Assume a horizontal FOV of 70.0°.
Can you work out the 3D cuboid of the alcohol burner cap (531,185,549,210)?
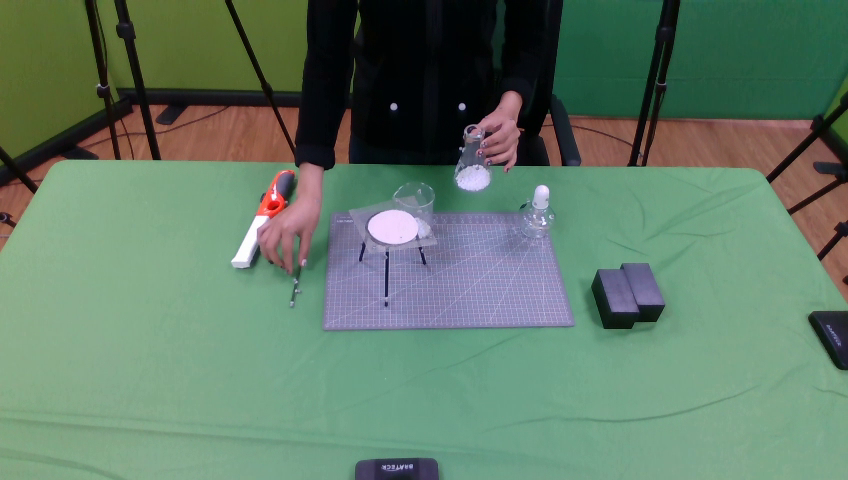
[{"bbox_3d":[0.228,-0.085,1.183,0.034,0.048,0.033,-1,48,2],"label":"alcohol burner cap"}]

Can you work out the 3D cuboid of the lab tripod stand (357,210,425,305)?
[{"bbox_3d":[-0.060,0.020,1.094,0.148,0.132,0.147,3,44,-2],"label":"lab tripod stand"}]

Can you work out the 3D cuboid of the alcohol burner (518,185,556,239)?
[{"bbox_3d":[0.227,-0.061,1.209,0.078,0.120,0.077,1,44,-1],"label":"alcohol burner"}]

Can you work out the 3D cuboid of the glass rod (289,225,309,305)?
[{"bbox_3d":[-0.236,0.042,1.149,0.008,0.008,0.198,3,46,-1],"label":"glass rod"}]

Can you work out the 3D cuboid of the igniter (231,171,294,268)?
[{"bbox_3d":[-0.321,-0.051,1.220,0.057,0.025,0.275,1,45,11],"label":"igniter"}]

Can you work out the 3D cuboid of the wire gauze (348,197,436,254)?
[{"bbox_3d":[-0.056,-0.026,1.045,0.125,0.011,0.120,-12,47,-17],"label":"wire gauze"}]

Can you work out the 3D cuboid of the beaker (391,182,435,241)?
[{"bbox_3d":[-0.023,-0.053,1.192,0.084,0.101,0.073,-2,46,-5],"label":"beaker"}]

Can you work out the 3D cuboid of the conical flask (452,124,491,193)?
[{"bbox_3d":[0.089,-0.153,1.115,0.075,0.122,0.075,-1,47,1],"label":"conical flask"}]
